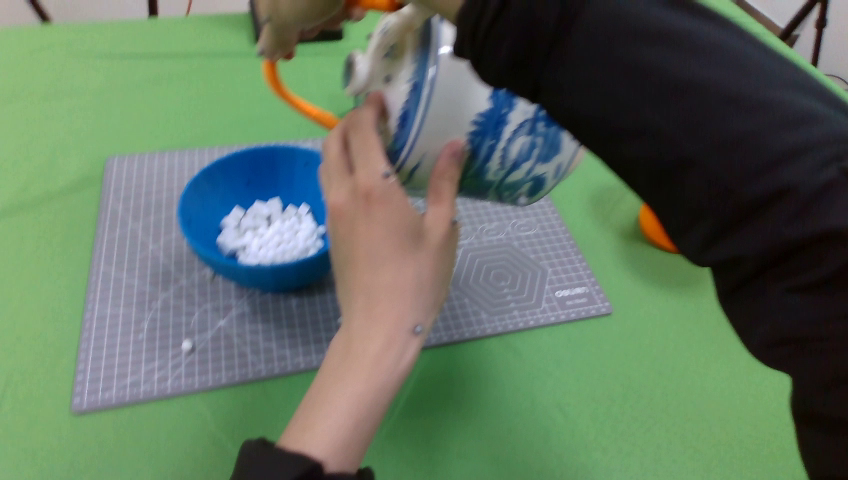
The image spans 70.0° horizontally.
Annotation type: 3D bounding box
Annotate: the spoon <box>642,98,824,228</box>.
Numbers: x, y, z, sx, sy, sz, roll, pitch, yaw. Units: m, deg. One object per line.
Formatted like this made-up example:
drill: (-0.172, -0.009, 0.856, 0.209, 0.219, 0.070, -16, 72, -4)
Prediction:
spoon: (0.301, -0.074, 0.596, 0.022, 0.194, 0.041, 30, 28, -42)

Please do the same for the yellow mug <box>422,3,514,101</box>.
yellow mug: (0.043, -0.206, 0.683, 0.099, 0.064, 0.130, 17, 49, 11)

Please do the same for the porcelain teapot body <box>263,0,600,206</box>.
porcelain teapot body: (-0.010, -0.090, 0.456, 0.227, 0.206, 0.143, 6, 51, -24)

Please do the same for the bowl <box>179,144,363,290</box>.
bowl: (-0.128, -0.009, 0.534, 0.151, 0.077, 0.150, 3, 46, -3)

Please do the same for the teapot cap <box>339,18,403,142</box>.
teapot cap: (-0.036, -0.111, 0.420, 0.044, 0.085, 0.084, 2, 45, -23)
